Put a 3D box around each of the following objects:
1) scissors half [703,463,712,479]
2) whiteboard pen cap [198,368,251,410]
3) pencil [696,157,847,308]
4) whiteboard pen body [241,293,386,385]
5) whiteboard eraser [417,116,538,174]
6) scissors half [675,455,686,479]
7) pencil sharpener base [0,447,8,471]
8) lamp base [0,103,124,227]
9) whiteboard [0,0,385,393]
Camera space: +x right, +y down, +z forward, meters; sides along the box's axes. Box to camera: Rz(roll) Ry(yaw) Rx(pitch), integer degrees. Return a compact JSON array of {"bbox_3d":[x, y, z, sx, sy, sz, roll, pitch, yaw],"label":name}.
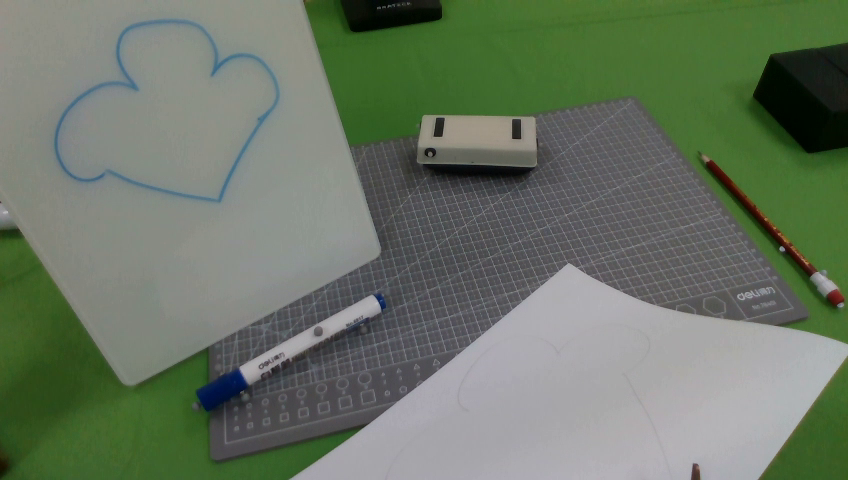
[{"bbox_3d":[0.125,0.191,0.292,0.013,0.175,0.040,5,8,-1],"label":"scissors half"},{"bbox_3d":[-0.138,0.103,0.422,0.033,0.018,0.018,-29,53,-21],"label":"whiteboard pen cap"},{"bbox_3d":[0.295,-0.015,0.530,0.012,0.012,0.192,-14,47,-10],"label":"pencil"},{"bbox_3d":[-0.090,0.077,0.442,0.141,0.017,0.017,-28,53,-20],"label":"whiteboard pen body"},{"bbox_3d":[0.051,-0.090,0.576,0.112,0.042,0.055,3,49,4],"label":"whiteboard eraser"},{"bbox_3d":[0.127,0.186,0.268,0.013,0.040,0.173,6,59,-6],"label":"scissors half"},{"bbox_3d":[-0.318,0.124,0.354,0.061,0.108,0.076,26,54,23],"label":"pencil sharpener base"},{"bbox_3d":[-0.387,-0.127,0.532,0.178,0.182,0.160,19,51,21],"label":"lamp base"},{"bbox_3d":[-0.189,-0.088,0.447,0.217,0.308,0.142,-28,33,-20],"label":"whiteboard"}]
